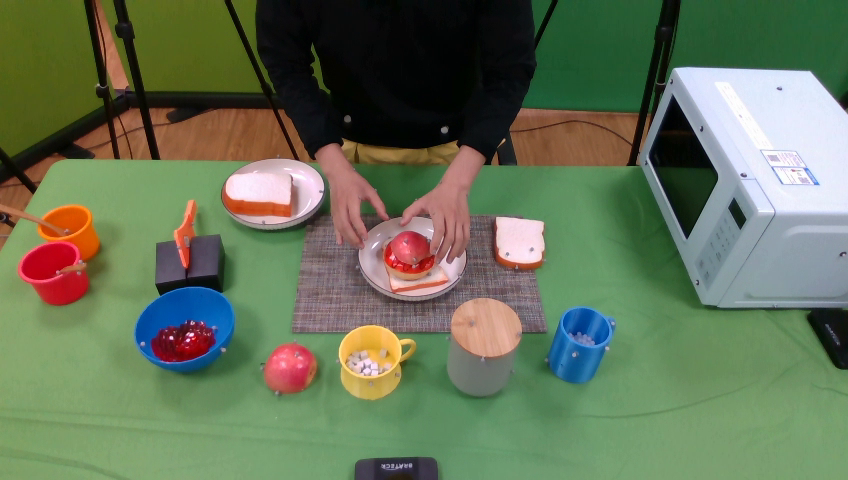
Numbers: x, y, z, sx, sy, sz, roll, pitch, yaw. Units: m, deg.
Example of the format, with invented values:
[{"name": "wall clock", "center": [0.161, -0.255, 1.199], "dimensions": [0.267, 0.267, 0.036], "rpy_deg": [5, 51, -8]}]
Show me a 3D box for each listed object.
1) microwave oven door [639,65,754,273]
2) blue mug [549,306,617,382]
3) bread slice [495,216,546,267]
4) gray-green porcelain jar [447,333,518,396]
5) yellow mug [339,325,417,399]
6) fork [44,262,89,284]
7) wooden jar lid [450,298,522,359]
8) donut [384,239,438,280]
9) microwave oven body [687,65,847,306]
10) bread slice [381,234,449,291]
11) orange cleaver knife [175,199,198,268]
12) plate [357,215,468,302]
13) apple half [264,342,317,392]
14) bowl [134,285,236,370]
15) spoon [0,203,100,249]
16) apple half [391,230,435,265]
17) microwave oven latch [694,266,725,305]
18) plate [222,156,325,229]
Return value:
[{"name": "microwave oven door", "center": [0.522, -0.147, 1.192], "dimensions": [0.039, 0.245, 0.353], "rpy_deg": [0, 47, -3]}, {"name": "blue mug", "center": [0.269, 0.166, 0.998], "dimensions": [0.116, 0.106, 0.082], "rpy_deg": [-19, 51, -21]}, {"name": "bread slice", "center": [0.194, 0.002, 1.204], "dimensions": [0.105, 0.019, 0.131], "rpy_deg": [6, 45, 2]}, {"name": "gray-green porcelain jar", "center": [0.091, 0.178, 0.960], "dimensions": [0.106, 0.127, 0.105], "rpy_deg": [2, 46, -2]}, {"name": "yellow mug", "center": [-0.072, 0.190, 0.978], "dimensions": [0.131, 0.064, 0.099], "rpy_deg": [-17, 50, -20]}, {"name": "fork", "center": [-0.598, 0.054, 1.014], "dimensions": [0.207, 0.019, 0.028], "rpy_deg": [-15, 29, 45]}, {"name": "wooden jar lid", "center": [0.093, 0.135, 0.914], "dimensions": [0.108, 0.021, 0.107], "rpy_deg": [3, 48, -3]}, {"name": "donut", "center": [-0.025, 0.029, 1.109], "dimensions": [0.099, 0.048, 0.098], "rpy_deg": [1, 47, -1]}, {"name": "microwave oven body", "center": [0.669, -0.111, 1.176], "dimensions": [0.326, 0.261, 0.439], "rpy_deg": [0, 46, -3]}, {"name": "bread slice", "center": [-0.027, 0.038, 1.139], "dimensions": [0.107, 0.018, 0.133], "rpy_deg": [-11, 47, -15]}, {"name": "orange cleaver knife", "center": [-0.438, -0.017, 1.138], "dimensions": [0.012, 0.077, 0.210], "rpy_deg": [-13, 27, -7]}, {"name": "plate", "center": [-0.022, 0.037, 1.141], "dimensions": [0.208, 0.039, 0.206], "rpy_deg": [2, 47, -2]}, {"name": "apple half", "center": [-0.214, 0.198, 0.970], "dimensions": [0.074, 0.053, 0.080], "rpy_deg": [19, 48, 10]}, {"name": "bowl", "center": [-0.377, 0.155, 0.981], "dimensions": [0.151, 0.077, 0.150], "rpy_deg": [2, 46, -2]}, {"name": "spoon", "center": [-0.683, -0.031, 1.088], "dimensions": [0.195, 0.021, 0.041], "rpy_deg": [33, 33, -38]}, {"name": "apple half", "center": [-0.021, 0.004, 1.085], "dimensions": [0.081, 0.033, 0.081], "rpy_deg": [6, 43, -6]}, {"name": "microwave oven latch", "center": [0.523, 0.082, 1.115], "dimensions": [0.030, 0.029, 0.078], "rpy_deg": [3, 46, 0]}, {"name": "plate", "center": [-0.308, -0.095, 1.251], "dimensions": [0.209, 0.038, 0.208], "rpy_deg": [2, 46, -2]}]
